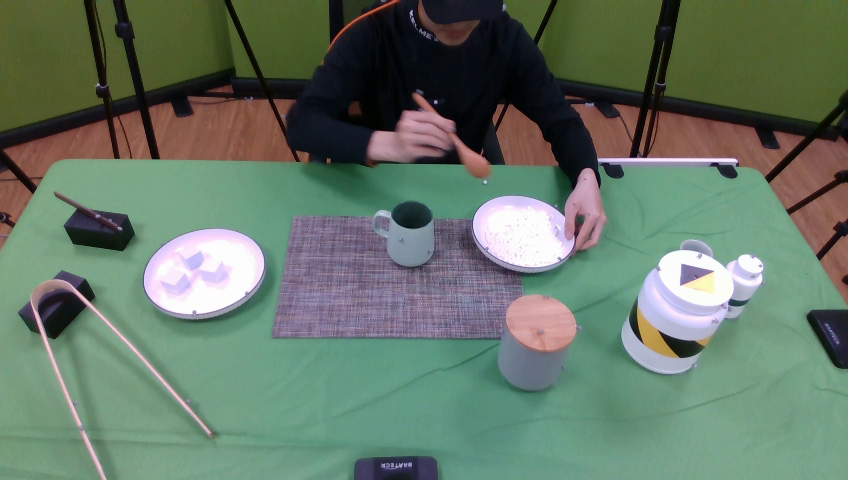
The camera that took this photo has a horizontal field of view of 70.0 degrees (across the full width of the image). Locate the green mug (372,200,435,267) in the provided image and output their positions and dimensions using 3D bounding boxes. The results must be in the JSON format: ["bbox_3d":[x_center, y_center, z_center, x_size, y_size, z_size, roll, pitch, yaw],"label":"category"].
[{"bbox_3d":[-0.040,-0.016,1.146,0.125,0.105,0.092,17,48,13],"label":"green mug"}]

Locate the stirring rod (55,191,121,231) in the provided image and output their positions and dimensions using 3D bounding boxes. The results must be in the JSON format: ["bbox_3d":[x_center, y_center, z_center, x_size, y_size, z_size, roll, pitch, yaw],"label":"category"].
[{"bbox_3d":[-0.632,-0.055,1.138,0.175,0.014,0.006,24,50,19],"label":"stirring rod"}]

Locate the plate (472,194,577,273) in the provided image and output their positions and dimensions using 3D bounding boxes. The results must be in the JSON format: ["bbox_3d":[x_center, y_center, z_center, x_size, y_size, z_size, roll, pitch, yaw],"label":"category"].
[{"bbox_3d":[0.196,-0.010,1.205,0.209,0.038,0.208,4,46,-4],"label":"plate"}]

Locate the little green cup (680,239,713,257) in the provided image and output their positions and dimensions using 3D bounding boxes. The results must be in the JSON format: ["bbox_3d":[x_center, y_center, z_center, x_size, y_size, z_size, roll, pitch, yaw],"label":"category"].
[{"bbox_3d":[0.530,0.033,1.189,0.061,0.039,0.061,2,48,-2],"label":"little green cup"}]

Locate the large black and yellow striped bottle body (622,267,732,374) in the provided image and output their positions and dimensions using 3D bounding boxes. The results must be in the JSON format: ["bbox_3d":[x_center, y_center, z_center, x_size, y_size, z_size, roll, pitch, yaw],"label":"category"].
[{"bbox_3d":[0.415,0.119,0.997,0.131,0.185,0.130,2,46,-2],"label":"large black and yellow striped bottle body"}]

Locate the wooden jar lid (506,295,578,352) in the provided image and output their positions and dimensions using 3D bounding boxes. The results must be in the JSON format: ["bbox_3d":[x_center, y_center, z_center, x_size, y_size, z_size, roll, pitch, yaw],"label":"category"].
[{"bbox_3d":[0.179,0.130,0.926,0.108,0.021,0.107,2,43,-2],"label":"wooden jar lid"}]

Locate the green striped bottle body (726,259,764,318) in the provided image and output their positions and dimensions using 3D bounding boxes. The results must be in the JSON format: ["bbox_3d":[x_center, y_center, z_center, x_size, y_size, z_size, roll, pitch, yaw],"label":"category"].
[{"bbox_3d":[0.563,0.081,1.089,0.063,0.120,0.063,2,46,-2],"label":"green striped bottle body"}]

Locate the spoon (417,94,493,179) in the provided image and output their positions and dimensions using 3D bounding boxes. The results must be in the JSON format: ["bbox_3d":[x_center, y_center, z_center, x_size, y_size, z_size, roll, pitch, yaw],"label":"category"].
[{"bbox_3d":[0.052,-0.184,1.075,0.193,0.041,0.021,50,36,1],"label":"spoon"}]

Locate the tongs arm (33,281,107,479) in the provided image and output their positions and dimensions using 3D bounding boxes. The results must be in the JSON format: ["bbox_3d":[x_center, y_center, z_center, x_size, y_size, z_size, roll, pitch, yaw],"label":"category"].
[{"bbox_3d":[-0.517,0.214,0.910,0.051,0.026,0.383,-28,63,-27],"label":"tongs arm"}]

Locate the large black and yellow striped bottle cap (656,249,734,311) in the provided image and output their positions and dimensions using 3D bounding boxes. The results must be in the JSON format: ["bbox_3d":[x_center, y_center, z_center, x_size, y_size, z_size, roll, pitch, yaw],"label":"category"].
[{"bbox_3d":[0.419,0.061,0.938,0.115,0.019,0.114,2,47,-2],"label":"large black and yellow striped bottle cap"}]

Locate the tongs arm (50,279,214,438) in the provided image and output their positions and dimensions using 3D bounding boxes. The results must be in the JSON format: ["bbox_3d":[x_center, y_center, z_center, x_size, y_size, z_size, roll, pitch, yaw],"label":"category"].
[{"bbox_3d":[-0.459,0.179,0.950,0.386,0.028,0.028,37,60,17],"label":"tongs arm"}]

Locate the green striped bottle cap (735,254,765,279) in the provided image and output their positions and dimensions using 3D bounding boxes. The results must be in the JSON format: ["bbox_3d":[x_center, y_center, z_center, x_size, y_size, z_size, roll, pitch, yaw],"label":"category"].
[{"bbox_3d":[0.566,0.046,1.051,0.044,0.020,0.044,0,45,0],"label":"green striped bottle cap"}]

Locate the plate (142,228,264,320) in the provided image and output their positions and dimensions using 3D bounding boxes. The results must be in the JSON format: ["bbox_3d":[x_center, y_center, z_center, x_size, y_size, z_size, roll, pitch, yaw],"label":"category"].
[{"bbox_3d":[-0.394,0.064,1.095,0.208,0.039,0.206,2,46,-2],"label":"plate"}]

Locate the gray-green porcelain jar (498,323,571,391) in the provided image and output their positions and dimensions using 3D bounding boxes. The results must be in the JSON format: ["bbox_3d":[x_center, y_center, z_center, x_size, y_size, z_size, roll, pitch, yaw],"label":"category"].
[{"bbox_3d":[0.176,0.172,0.971,0.106,0.127,0.105,2,46,-2],"label":"gray-green porcelain jar"}]
